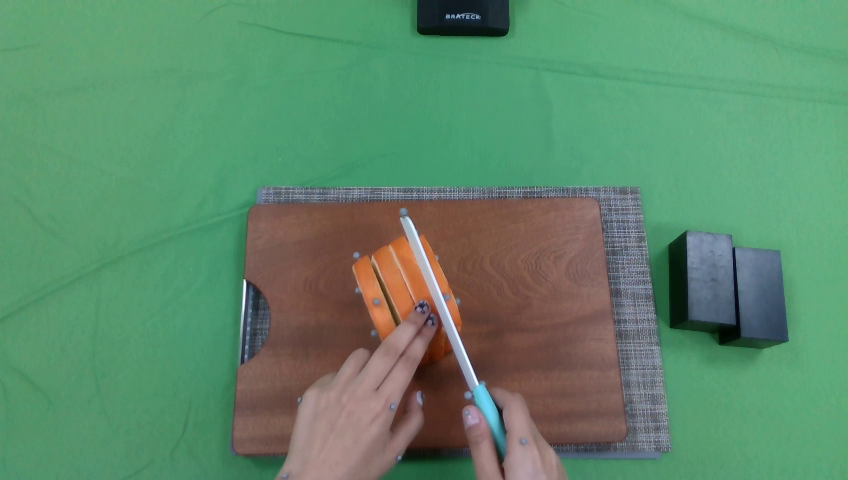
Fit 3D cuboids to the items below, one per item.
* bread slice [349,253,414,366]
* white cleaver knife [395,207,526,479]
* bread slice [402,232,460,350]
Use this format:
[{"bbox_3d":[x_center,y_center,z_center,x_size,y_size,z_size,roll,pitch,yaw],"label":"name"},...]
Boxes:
[{"bbox_3d":[-0.042,0.067,0.587,0.019,0.132,0.104,-24,72,-3],"label":"bread slice"},{"bbox_3d":[0.035,0.104,0.507,0.021,0.066,0.286,-21,91,-5],"label":"white cleaver knife"},{"bbox_3d":[0.005,0.052,0.591,0.018,0.135,0.106,-23,77,-10],"label":"bread slice"}]
